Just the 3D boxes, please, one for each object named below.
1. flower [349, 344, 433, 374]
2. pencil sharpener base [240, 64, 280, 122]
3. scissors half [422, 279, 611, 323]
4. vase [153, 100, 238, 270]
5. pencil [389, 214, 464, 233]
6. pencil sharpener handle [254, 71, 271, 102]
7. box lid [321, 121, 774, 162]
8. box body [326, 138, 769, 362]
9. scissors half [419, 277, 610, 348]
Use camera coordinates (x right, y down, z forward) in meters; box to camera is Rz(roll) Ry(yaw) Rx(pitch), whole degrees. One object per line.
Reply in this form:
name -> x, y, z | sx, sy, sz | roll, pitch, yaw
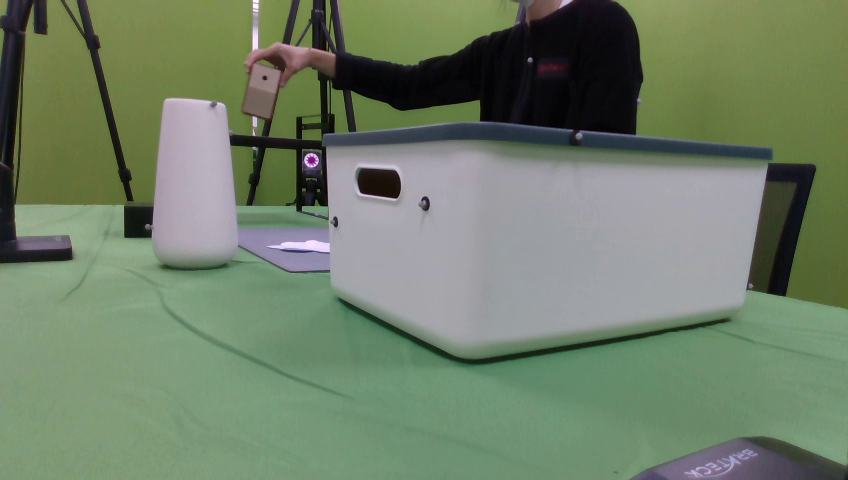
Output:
flower -> 0.103, 0.072, 0.592 | 0.362, 0.044, 0.038 | -17, 44, -9
pencil sharpener base -> -0.347, -0.311, 1.279 | 0.061, 0.107, 0.076 | 13, 12, -18
scissors half -> 0.073, 0.057, 0.524 | 0.174, 0.040, 0.013 | 5, 39, 30
vase -> -0.278, -0.066, 0.736 | 0.098, 0.200, 0.098 | 2, 9, 0
pencil -> -0.001, -0.031, 1.048 | 0.012, 0.012, 0.193 | -4, 12, -42
pencil sharpener handle -> -0.353, -0.336, 1.325 | 0.036, 0.067, 0.030 | 1, 15, -15
box lid -> 0.114, -0.085, 0.573 | 0.373, 0.015, 0.262 | -2, 7, -33
box body -> 0.112, -0.010, 0.583 | 0.366, 0.160, 0.253 | -2, 9, -33
scissors half -> 0.076, 0.067, 0.533 | 0.174, 0.040, 0.013 | 14, 50, 24
